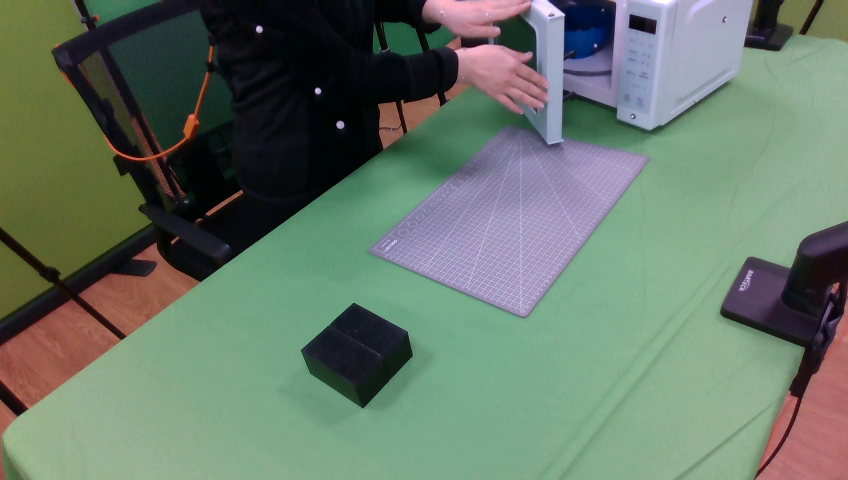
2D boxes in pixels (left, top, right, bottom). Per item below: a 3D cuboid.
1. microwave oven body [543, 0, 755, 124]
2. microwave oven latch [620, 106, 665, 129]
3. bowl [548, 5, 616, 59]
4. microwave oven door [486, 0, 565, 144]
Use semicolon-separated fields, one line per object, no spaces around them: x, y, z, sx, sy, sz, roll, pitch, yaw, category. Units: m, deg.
0.402;-0.458;1.259;0.327;0.261;0.437;-33;45;-24;microwave oven body
0.413;-0.237;1.146;0.030;0.029;0.078;-32;44;-23;microwave oven latch
0.332;-0.441;1.302;0.151;0.077;0.150;-3;39;3;bowl
0.195;-0.381;1.201;0.039;0.245;0.353;-15;40;-6;microwave oven door
